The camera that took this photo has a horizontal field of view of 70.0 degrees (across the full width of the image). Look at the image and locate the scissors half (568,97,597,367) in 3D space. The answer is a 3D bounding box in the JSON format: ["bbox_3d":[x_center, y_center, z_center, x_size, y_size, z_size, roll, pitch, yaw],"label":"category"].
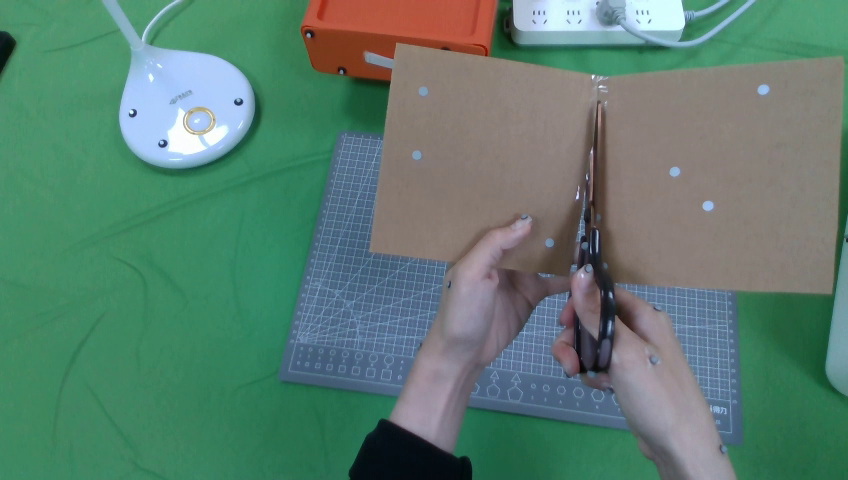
[{"bbox_3d":[0.105,-0.005,0.392,0.013,0.040,0.175,4,94,5],"label":"scissors half"}]

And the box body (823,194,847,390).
[{"bbox_3d":[0.547,-0.001,0.553,0.253,0.161,0.362,20,69,10],"label":"box body"}]

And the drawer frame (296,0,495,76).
[{"bbox_3d":[-0.019,-0.293,0.694,0.201,0.083,0.212,8,67,6],"label":"drawer frame"}]

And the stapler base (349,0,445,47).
[{"bbox_3d":[-0.035,-0.273,0.706,0.129,0.024,0.041,37,89,19],"label":"stapler base"}]

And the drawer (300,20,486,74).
[{"bbox_3d":[-0.017,-0.290,0.693,0.194,0.074,0.210,8,67,6],"label":"drawer"}]

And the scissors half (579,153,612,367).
[{"bbox_3d":[0.104,-0.010,0.370,0.013,0.040,0.174,5,64,1],"label":"scissors half"}]

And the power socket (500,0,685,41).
[{"bbox_3d":[0.210,-0.285,0.757,0.227,0.033,0.071,1,68,2],"label":"power socket"}]

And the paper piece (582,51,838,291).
[{"bbox_3d":[0.165,-0.043,0.361,0.134,0.004,0.135,4,88,25],"label":"paper piece"}]

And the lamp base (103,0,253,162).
[{"bbox_3d":[-0.298,-0.202,0.659,0.178,0.181,0.160,39,73,20],"label":"lamp base"}]

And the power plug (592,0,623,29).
[{"bbox_3d":[0.218,-0.268,0.724,0.035,0.053,0.072,11,68,7],"label":"power plug"}]

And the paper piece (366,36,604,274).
[{"bbox_3d":[0.039,-0.053,0.388,0.136,0.008,0.138,8,94,-3],"label":"paper piece"}]

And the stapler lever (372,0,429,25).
[{"bbox_3d":[-0.043,-0.278,0.681,0.117,0.040,0.027,37,89,20],"label":"stapler lever"}]
